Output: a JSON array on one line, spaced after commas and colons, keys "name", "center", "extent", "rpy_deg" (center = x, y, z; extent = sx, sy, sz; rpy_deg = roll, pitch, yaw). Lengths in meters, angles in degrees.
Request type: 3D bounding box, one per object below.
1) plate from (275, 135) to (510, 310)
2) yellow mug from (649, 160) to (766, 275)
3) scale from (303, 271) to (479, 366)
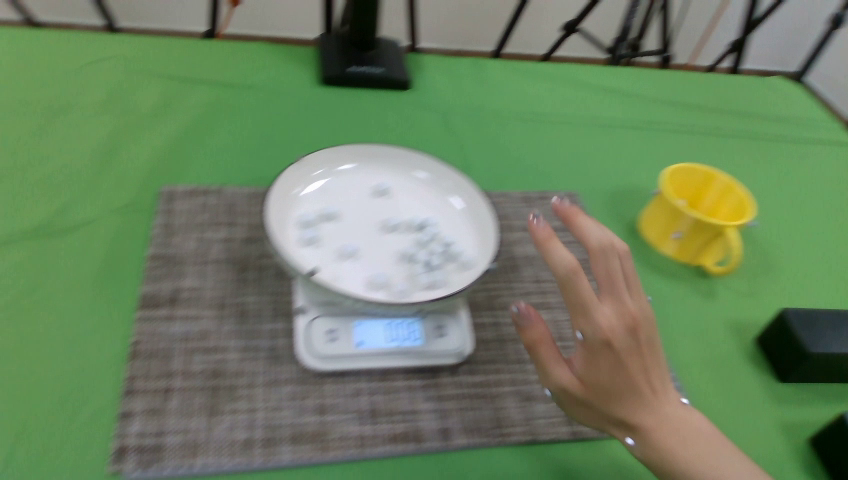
[{"name": "plate", "center": [-0.028, -0.018, 0.547], "extent": [0.209, 0.038, 0.207], "rpy_deg": [7, 46, -7]}, {"name": "yellow mug", "center": [0.310, -0.020, 0.652], "extent": [0.100, 0.064, 0.129], "rpy_deg": [-1, 48, -13]}, {"name": "scale", "center": [-0.034, 0.022, 0.554], "extent": [0.149, 0.032, 0.198], "rpy_deg": [1, 47, -12]}]
